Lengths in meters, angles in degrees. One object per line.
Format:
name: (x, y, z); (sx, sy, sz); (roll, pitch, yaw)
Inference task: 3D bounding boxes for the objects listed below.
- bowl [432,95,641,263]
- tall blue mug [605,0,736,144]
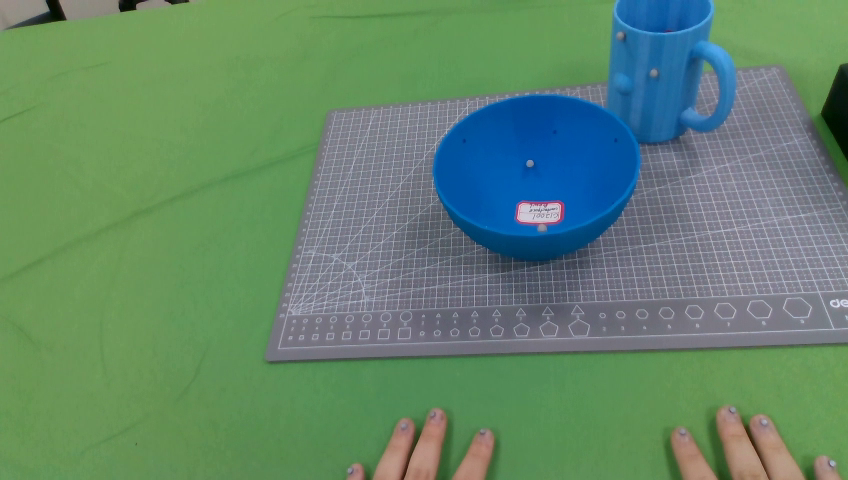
bowl: (0.086, -0.035, 0.470); (0.151, 0.077, 0.150); (-6, 50, 7)
tall blue mug: (0.210, -0.143, 0.512); (0.106, 0.109, 0.077); (17, 55, 25)
